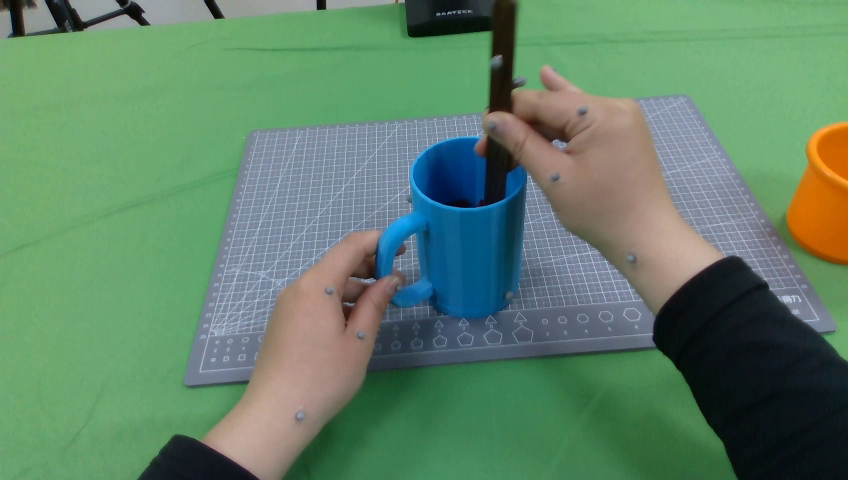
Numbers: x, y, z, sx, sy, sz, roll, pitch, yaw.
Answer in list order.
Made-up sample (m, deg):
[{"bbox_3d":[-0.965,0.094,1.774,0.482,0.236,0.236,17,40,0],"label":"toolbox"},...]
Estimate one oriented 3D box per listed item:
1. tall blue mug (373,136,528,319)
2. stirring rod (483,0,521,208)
[{"bbox_3d":[0.023,0.003,0.417,0.077,0.109,0.107,19,50,21],"label":"tall blue mug"},{"bbox_3d":[0.045,-0.056,0.366,0.014,0.178,0.006,6,40,9],"label":"stirring rod"}]
